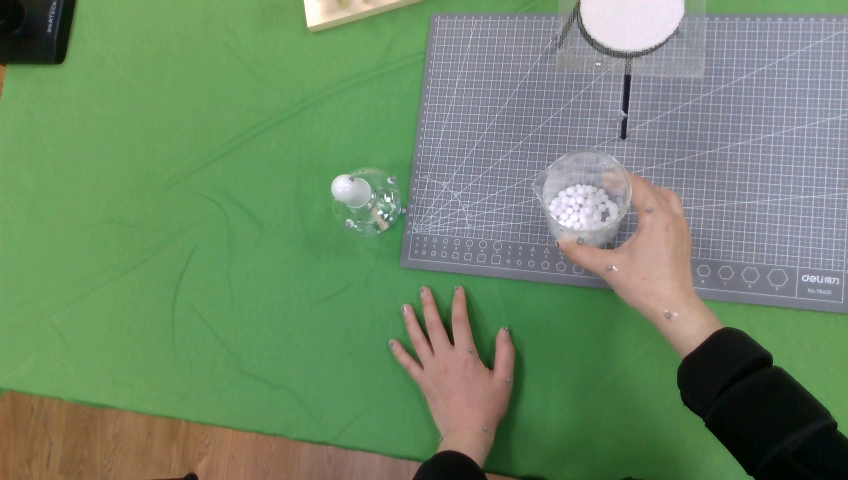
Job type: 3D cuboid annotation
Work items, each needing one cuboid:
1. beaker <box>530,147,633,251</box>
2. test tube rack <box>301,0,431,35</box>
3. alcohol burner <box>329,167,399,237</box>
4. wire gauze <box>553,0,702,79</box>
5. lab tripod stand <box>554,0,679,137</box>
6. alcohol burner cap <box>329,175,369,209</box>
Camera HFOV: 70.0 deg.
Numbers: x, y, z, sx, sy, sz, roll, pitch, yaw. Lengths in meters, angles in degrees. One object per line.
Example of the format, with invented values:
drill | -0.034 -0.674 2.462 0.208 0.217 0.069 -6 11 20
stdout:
beaker | 0.140 -0.032 0.547 0.083 0.101 0.074 10 81 16
test tube rack | -0.040 -0.314 0.689 0.242 0.085 0.066 -12 79 11
alcohol burner | -0.069 -0.044 0.643 0.078 0.120 0.077 -2 79 12
wire gauze | 0.177 -0.200 0.524 0.125 0.011 0.121 5 85 14
lab tripod stand | 0.192 -0.190 0.589 0.148 0.132 0.148 -1 83 12
alcohol burner cap | -0.078 -0.050 0.609 0.034 0.048 0.034 -1 85 13
